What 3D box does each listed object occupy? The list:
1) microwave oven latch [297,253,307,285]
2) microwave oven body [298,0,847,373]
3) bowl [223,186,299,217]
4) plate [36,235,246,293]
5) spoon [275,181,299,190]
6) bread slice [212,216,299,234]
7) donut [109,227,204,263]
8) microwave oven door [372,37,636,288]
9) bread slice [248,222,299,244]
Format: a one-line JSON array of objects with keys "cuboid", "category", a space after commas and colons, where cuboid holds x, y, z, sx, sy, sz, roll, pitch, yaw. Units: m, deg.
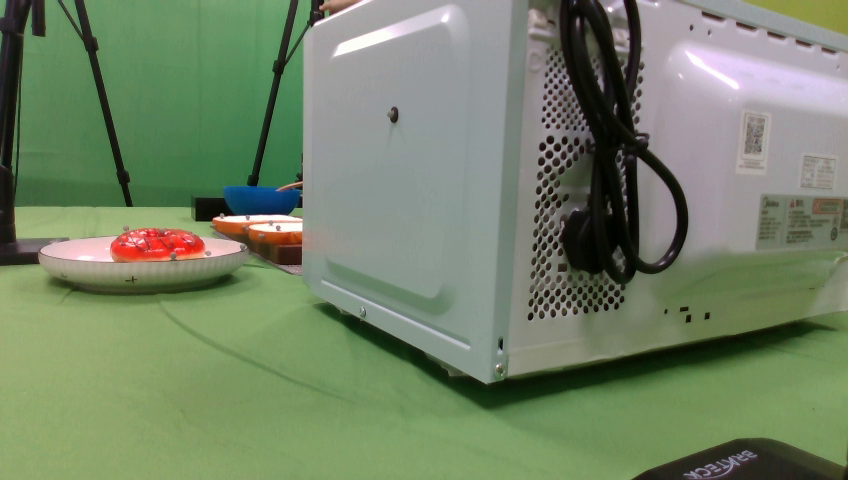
[{"cuboid": [-0.082, 0.027, 0.582, 0.079, 0.029, 0.030, -1, 7, -32], "category": "microwave oven latch"}, {"cuboid": [0.151, -0.055, 0.543, 0.444, 0.260, 0.324, -1, 7, -33], "category": "microwave oven body"}, {"cuboid": [-0.330, -0.068, 1.230, 0.151, 0.077, 0.151, 2, 7, 0], "category": "bowl"}, {"cuboid": [-0.305, 0.026, 0.668, 0.208, 0.039, 0.207, 2, 7, 0], "category": "plate"}, {"cuboid": [-0.300, -0.102, 1.259, 0.041, 0.021, 0.194, 1, 24, 37], "category": "spoon"}, {"cuboid": [-0.256, -0.026, 0.936, 0.132, 0.019, 0.104, -4, 8, -40], "category": "bread slice"}, {"cuboid": [-0.298, 0.012, 0.679, 0.099, 0.048, 0.099, 4, 10, 0], "category": "donut"}, {"cuboid": [0.109, -0.080, 0.686, 0.358, 0.243, 0.039, -2, 9, -33], "category": "microwave oven door"}, {"cuboid": [-0.174, -0.012, 0.844, 0.135, 0.018, 0.106, -6, 10, -44], "category": "bread slice"}]
